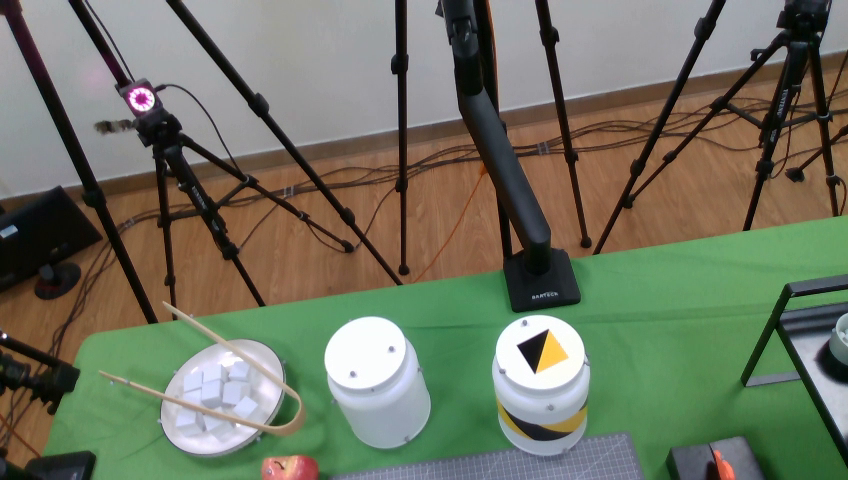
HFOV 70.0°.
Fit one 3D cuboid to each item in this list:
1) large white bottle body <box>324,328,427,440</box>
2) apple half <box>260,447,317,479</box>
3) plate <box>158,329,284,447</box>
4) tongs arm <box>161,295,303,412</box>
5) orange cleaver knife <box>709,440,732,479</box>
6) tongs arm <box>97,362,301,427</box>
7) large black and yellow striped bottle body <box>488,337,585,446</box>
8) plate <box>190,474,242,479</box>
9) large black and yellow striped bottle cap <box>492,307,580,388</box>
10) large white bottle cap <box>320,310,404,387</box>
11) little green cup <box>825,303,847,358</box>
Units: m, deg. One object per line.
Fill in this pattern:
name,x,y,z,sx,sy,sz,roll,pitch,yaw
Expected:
large white bottle body,-0.071,0.201,0.897,0.130,0.186,0.129,-5,49,7
apple half,-0.198,0.337,0.881,0.081,0.075,0.053,-4,54,3
plate,-0.331,0.245,1.006,0.207,0.039,0.205,-5,50,7
tongs arm,-0.333,0.179,1.022,0.384,0.028,0.028,25,53,30
orange cleaver knife,0.389,0.357,0.747,0.012,0.077,0.210,-14,76,11
tongs arm,-0.373,0.237,0.978,0.382,0.027,0.050,12,50,22
large black and yellow striped bottle body,0.160,0.196,0.856,0.130,0.186,0.129,-6,48,7
plate,-0.308,0.435,0.843,0.209,0.038,0.207,-5,50,7
large black and yellow striped bottle cap,0.147,0.139,0.795,0.115,0.019,0.114,-5,49,6
large white bottle cap,-0.085,0.147,0.832,0.115,0.018,0.113,-6,49,7
little green cup,0.512,0.110,0.720,0.061,0.039,0.061,-6,50,7
